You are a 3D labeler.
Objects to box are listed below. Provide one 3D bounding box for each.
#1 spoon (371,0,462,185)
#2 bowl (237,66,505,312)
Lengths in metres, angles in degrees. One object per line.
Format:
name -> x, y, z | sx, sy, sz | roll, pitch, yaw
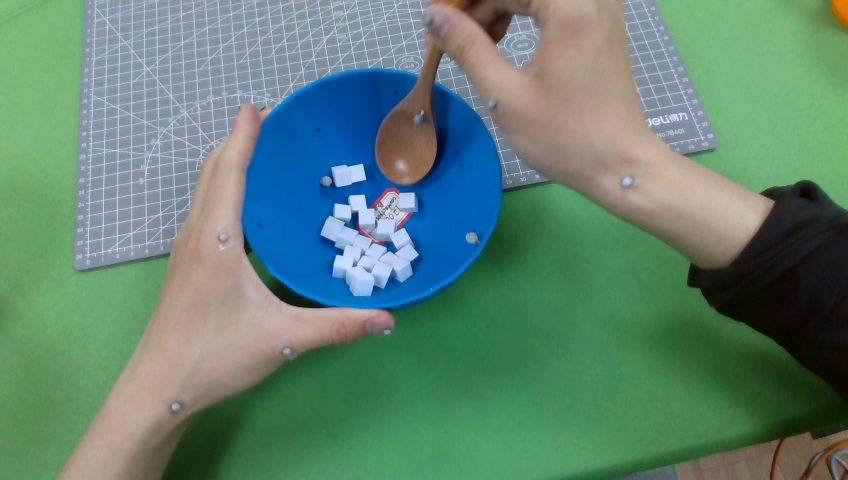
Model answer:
spoon -> 0.004, -0.097, 0.322 | 0.041, 0.195, 0.021 | 32, 55, 5
bowl -> -0.029, -0.021, 0.374 | 0.151, 0.077, 0.150 | 0, 70, 1
